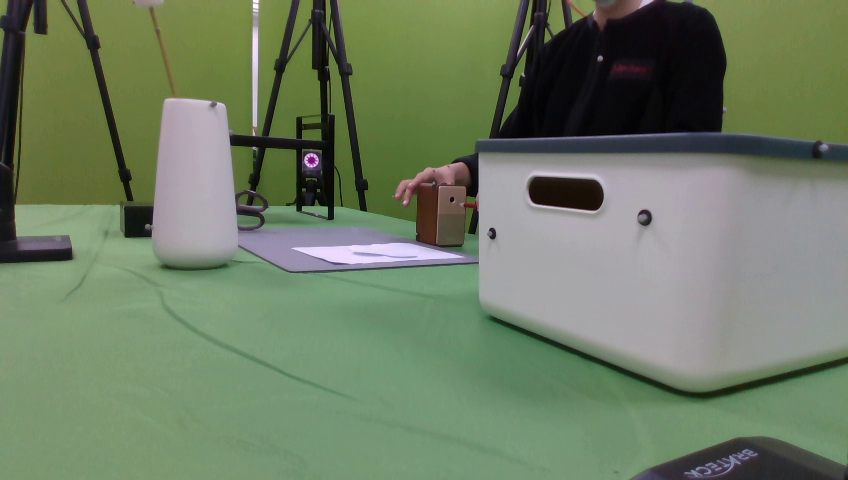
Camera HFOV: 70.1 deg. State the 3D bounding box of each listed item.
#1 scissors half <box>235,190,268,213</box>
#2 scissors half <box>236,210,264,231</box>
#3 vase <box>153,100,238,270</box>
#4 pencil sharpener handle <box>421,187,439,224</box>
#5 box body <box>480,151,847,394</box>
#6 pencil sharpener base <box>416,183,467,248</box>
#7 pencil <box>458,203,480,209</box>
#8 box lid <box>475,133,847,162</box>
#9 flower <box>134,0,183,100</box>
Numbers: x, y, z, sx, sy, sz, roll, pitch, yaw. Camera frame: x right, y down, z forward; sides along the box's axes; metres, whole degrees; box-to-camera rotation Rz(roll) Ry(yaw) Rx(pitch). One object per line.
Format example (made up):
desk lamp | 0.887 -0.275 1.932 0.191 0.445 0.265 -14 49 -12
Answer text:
scissors half | -0.363 -0.070 1.060 0.176 0.040 0.013 0 16 -23
scissors half | -0.369 -0.051 1.064 0.176 0.040 0.012 19 13 -27
vase | -0.278 -0.066 0.736 0.098 0.200 0.098 2 9 0
pencil sharpener handle | 0.004 -0.063 1.086 0.036 0.067 0.030 -9 11 -29
box body | 0.254 0.002 0.539 0.366 0.160 0.253 -2 8 -31
pencil sharpener base | 0.028 -0.044 1.043 0.061 0.107 0.076 -2 8 -30
pencil | 0.118 -0.046 0.915 0.012 0.012 0.193 -4 10 -40
box lid | 0.255 -0.073 0.528 0.373 0.015 0.262 -2 8 -31
flower | -0.282 -0.147 0.713 0.038 0.362 0.044 -23 24 -31
